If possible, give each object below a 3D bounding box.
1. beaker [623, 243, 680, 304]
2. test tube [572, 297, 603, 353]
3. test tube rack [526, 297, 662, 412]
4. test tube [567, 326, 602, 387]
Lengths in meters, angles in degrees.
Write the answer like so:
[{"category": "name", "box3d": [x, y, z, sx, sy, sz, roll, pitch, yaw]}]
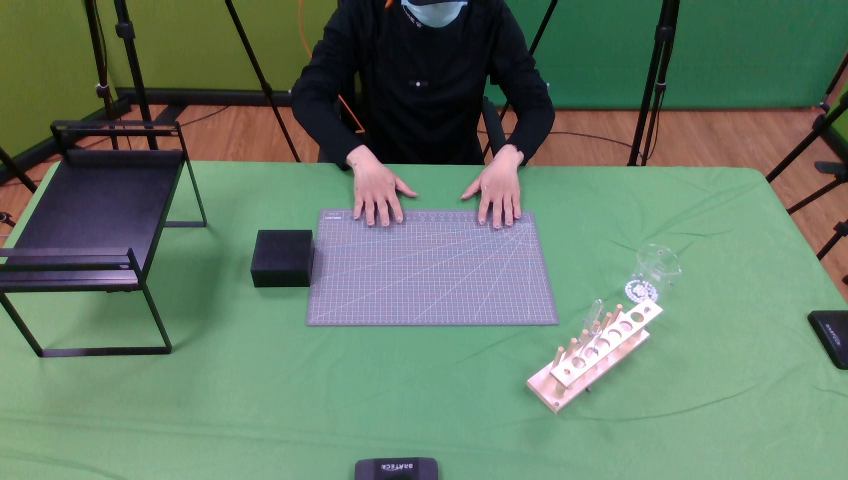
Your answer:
[{"category": "beaker", "box3d": [0.414, 0.067, 1.111, 0.083, 0.101, 0.074, 31, 52, 22]}, {"category": "test tube", "box3d": [0.263, 0.141, 0.977, 0.017, 0.151, 0.017, 2, 47, -2]}, {"category": "test tube rack", "box3d": [0.284, 0.176, 1.007, 0.242, 0.085, 0.066, -29, 54, -27]}, {"category": "test tube", "box3d": [0.243, 0.182, 0.930, 0.017, 0.151, 0.017, 5, 45, -5]}]
